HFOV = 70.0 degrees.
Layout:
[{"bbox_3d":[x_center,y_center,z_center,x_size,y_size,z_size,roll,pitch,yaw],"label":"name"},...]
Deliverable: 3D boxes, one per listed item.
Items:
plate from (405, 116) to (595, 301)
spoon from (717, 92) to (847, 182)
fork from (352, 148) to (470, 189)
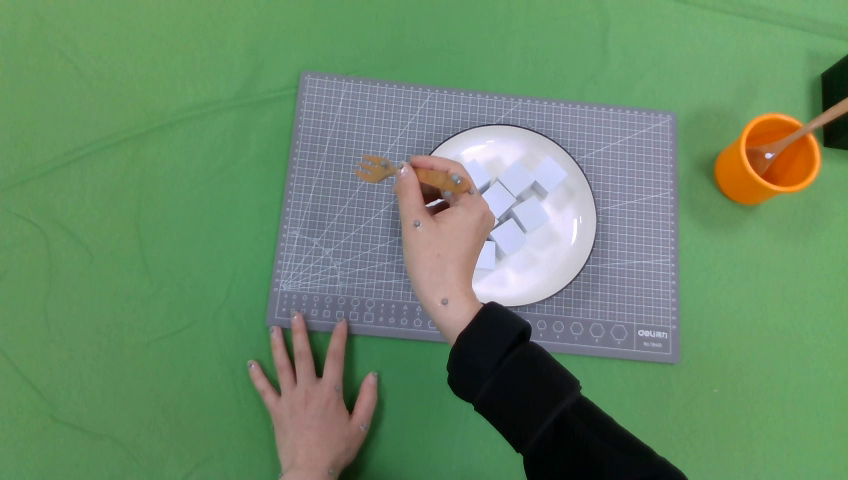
[{"bbox_3d":[0.082,-0.034,0.669,0.208,0.039,0.206,1,78,-4],"label":"plate"},{"bbox_3d":[0.413,-0.124,0.659,0.022,0.194,0.041,-7,66,-50],"label":"spoon"},{"bbox_3d":[-0.018,-0.062,0.520,0.019,0.205,0.028,37,84,-27],"label":"fork"}]
